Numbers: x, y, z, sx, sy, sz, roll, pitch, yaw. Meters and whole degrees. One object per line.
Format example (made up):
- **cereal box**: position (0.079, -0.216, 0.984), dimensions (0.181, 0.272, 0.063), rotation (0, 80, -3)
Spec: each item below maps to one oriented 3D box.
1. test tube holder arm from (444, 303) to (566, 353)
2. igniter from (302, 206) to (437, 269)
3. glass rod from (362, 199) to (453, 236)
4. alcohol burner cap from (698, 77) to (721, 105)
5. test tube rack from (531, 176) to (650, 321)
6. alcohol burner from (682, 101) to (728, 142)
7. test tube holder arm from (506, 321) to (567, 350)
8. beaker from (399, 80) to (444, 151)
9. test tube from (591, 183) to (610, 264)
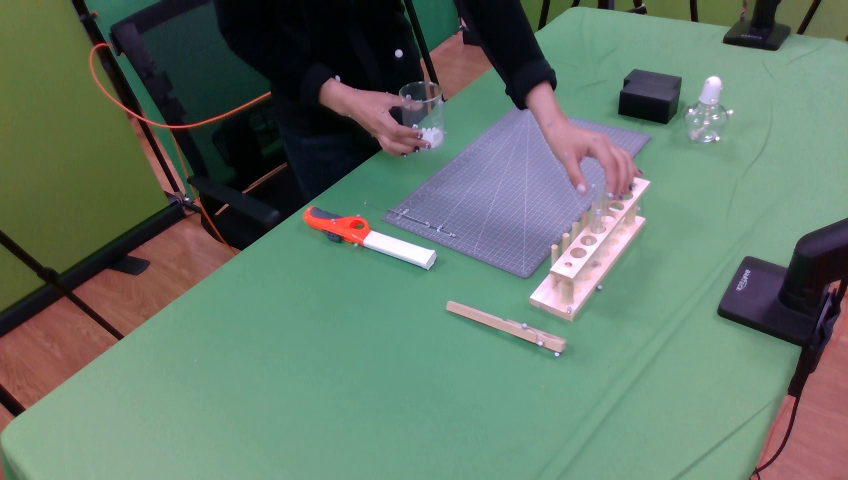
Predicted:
- **test tube holder arm**: position (0.106, 0.117, 0.823), dimensions (0.177, 0.015, 0.013), rotation (16, 10, 27)
- **igniter**: position (-0.101, -0.007, 1.005), dimensions (0.274, 0.025, 0.057), rotation (19, 57, 29)
- **glass rod**: position (-0.031, -0.041, 1.041), dimensions (0.198, 0.008, 0.008), rotation (22, 50, 31)
- **alcohol burner cap**: position (0.509, -0.266, 1.072), dimensions (0.034, 0.048, 0.033), rotation (-4, 48, 5)
- **test tube rack**: position (0.246, 0.002, 0.884), dimensions (0.066, 0.085, 0.243), rotation (22, 49, 32)
- **alcohol burner**: position (0.513, -0.239, 1.097), dimensions (0.078, 0.119, 0.077), rotation (-4, 40, 4)
- **test tube holder arm**: position (0.148, 0.128, 0.808), dimensions (0.087, 0.015, 0.010), rotation (16, 10, 28)
- **beaker**: position (-0.004, -0.210, 1.039), dimensions (0.073, 0.100, 0.084), rotation (20, 47, 27)
- **test tube**: position (0.242, -0.019, 0.832), dimensions (0.017, 0.151, 0.017), rotation (-5, 46, 6)
